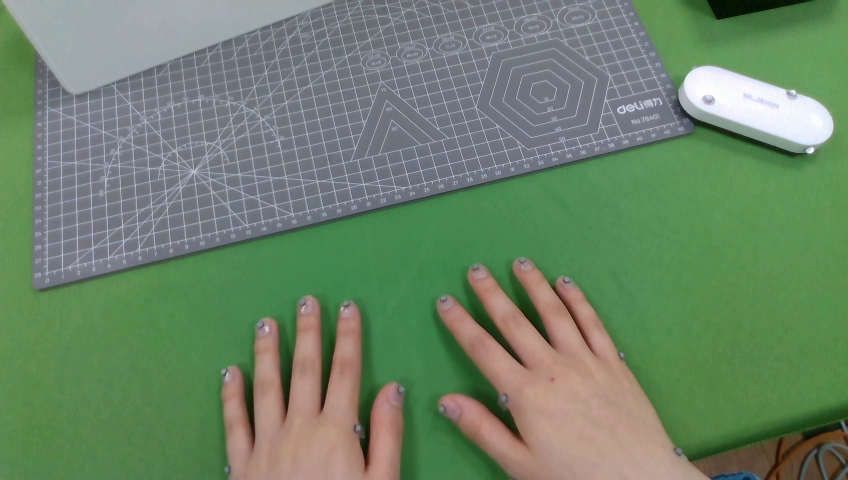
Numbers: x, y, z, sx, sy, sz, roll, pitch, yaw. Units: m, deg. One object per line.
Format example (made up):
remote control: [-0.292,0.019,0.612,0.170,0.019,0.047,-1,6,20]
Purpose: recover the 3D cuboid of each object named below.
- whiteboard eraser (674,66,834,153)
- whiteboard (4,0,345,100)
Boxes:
whiteboard eraser: [0.224,-0.090,0.413,0.101,0.019,0.041,21,69,10]
whiteboard: [-0.208,-0.289,0.389,0.217,0.308,0.142,-23,48,-7]
